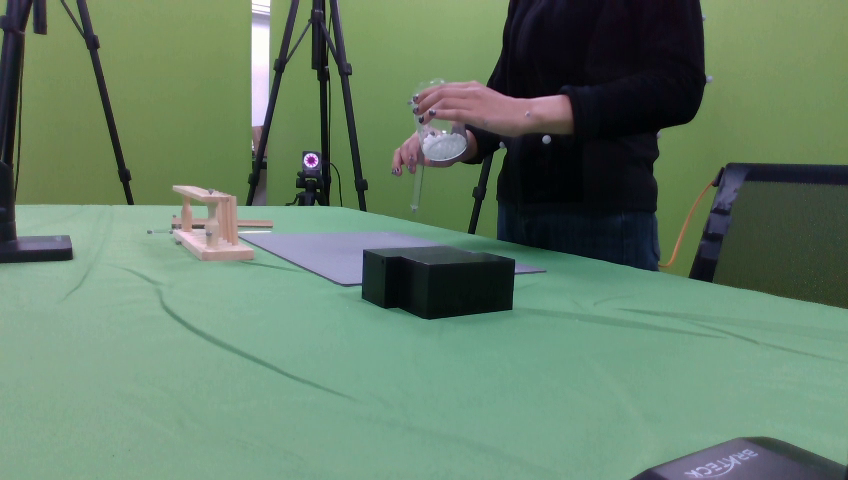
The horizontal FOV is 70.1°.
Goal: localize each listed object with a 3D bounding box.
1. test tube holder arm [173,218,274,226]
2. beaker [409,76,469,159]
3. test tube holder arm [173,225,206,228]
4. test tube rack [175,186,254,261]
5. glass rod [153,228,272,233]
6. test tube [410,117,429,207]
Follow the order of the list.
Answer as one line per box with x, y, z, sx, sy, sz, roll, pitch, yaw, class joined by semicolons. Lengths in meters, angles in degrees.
-0.371;-0.033;1.128;0.179;0.015;0.013;-1;-21;-25;test tube holder arm
0.022;-0.176;0.894;0.074;0.100;0.084;-7;-24;-14;beaker
-0.414;-0.030;1.113;0.088;0.015;0.010;-1;-21;-25;test tube holder arm
-0.314;-0.031;0.889;0.067;0.085;0.241;-2;8;-30;test tube rack
-0.368;-0.017;1.065;0.201;0.008;0.008;-2;8;-27;glass rod
-0.007;-0.123;0.976;0.017;0.150;0.017;6;23;-2;test tube
